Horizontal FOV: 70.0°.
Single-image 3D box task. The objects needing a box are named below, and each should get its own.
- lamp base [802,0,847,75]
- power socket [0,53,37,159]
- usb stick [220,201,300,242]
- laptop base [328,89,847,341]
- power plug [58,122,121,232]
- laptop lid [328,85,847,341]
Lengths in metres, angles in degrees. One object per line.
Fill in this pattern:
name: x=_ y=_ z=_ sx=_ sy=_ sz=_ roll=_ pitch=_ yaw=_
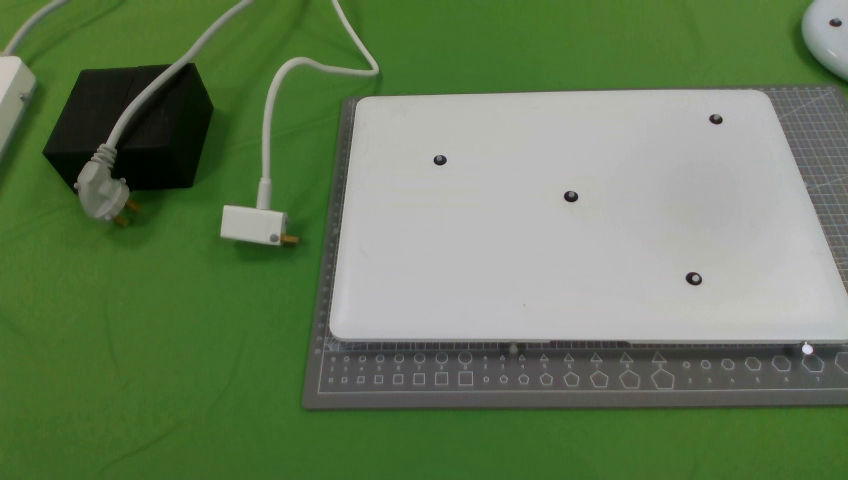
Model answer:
lamp base: x=0.442 y=-0.247 z=0.508 sx=0.159 sy=0.182 sz=0.178 roll=29 pitch=59 yaw=21
power socket: x=-0.410 y=-0.086 z=0.530 sx=0.072 sy=0.033 sz=0.224 roll=-2 pitch=55 yaw=0
usb stick: x=-0.124 y=-0.013 z=0.465 sx=0.059 sy=0.021 sz=0.027 roll=12 pitch=93 yaw=-3
laptop base: x=0.112 y=-0.027 z=0.472 sx=0.354 sy=0.023 sz=0.233 roll=0 pitch=59 yaw=3
power plug: x=-0.263 y=-0.044 z=0.456 sx=0.035 sy=0.073 sz=0.052 roll=-1 pitch=44 yaw=42
laptop lid: x=0.112 y=-0.032 z=0.461 sx=0.356 sy=0.013 sz=0.239 roll=1 pitch=58 yaw=4
